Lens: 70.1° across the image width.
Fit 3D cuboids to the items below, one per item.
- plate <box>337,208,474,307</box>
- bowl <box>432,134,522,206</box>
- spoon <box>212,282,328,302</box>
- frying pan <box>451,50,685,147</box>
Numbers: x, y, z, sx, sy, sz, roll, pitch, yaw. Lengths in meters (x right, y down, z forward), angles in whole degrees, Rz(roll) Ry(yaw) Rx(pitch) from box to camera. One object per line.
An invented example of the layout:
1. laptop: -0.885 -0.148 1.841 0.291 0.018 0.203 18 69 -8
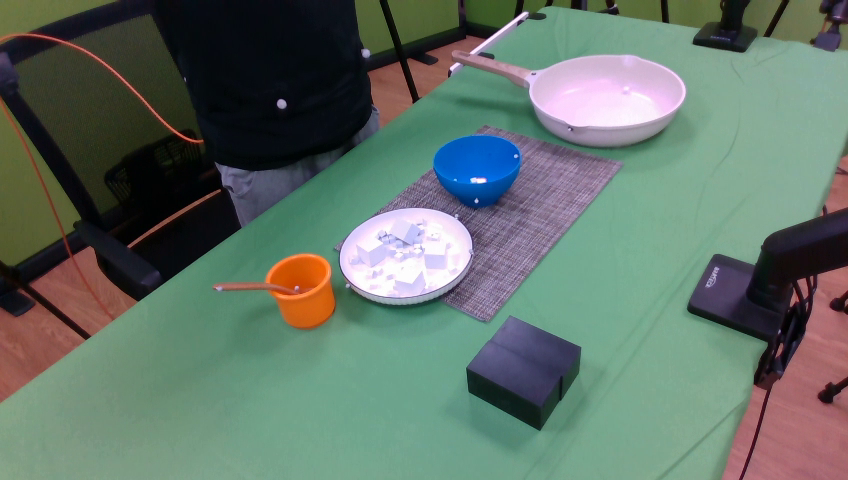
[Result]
1. plate: -0.026 0.028 0.921 0.207 0.039 0.206 -4 40 4
2. bowl: 0.092 -0.110 1.033 0.151 0.077 0.150 -4 40 4
3. spoon: -0.204 0.067 0.822 0.041 0.195 0.021 29 97 35
4. frying pan: 0.269 -0.316 1.233 0.485 0.103 0.307 26 49 21
